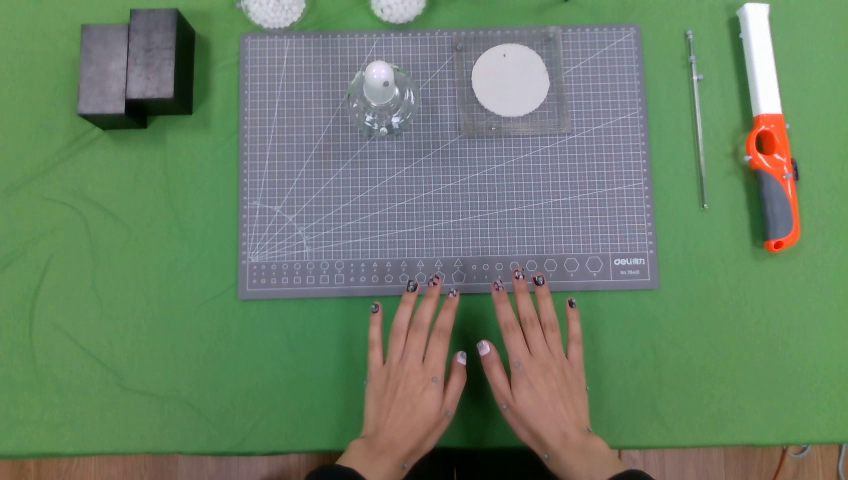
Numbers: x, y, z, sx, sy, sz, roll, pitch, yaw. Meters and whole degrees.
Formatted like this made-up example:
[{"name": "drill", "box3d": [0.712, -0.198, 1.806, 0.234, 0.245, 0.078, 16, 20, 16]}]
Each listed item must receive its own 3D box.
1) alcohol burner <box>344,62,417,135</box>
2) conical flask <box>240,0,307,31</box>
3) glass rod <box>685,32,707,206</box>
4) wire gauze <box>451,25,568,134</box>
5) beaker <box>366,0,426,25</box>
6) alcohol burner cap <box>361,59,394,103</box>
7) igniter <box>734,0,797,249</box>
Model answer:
[{"name": "alcohol burner", "box3d": [-0.045, -0.150, 0.617, 0.078, 0.119, 0.077, 0, 84, -1]}, {"name": "conical flask", "box3d": [-0.169, -0.279, 0.631, 0.075, 0.122, 0.075, 0, 83, 0]}, {"name": "glass rod", "box3d": [0.301, -0.136, 0.671, 0.008, 0.008, 0.199, -2, 83, -1]}, {"name": "wire gauze", "box3d": [0.095, -0.177, 0.674, 0.125, 0.011, 0.121, -3, 84, -3]}, {"name": "beaker", "box3d": [-0.030, -0.281, 0.643, 0.084, 0.100, 0.074, 34, 84, 4]}, {"name": "alcohol burner cap", "box3d": [-0.044, -0.155, 0.581, 0.034, 0.048, 0.034, 1, 83, -6]}, {"name": "igniter", "box3d": [0.372, -0.128, 0.661, 0.057, 0.025, 0.275, -2, 83, -11]}]
